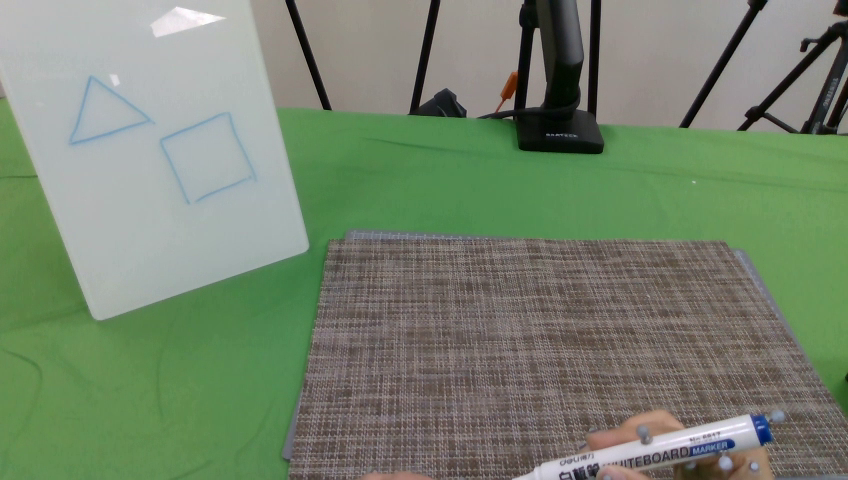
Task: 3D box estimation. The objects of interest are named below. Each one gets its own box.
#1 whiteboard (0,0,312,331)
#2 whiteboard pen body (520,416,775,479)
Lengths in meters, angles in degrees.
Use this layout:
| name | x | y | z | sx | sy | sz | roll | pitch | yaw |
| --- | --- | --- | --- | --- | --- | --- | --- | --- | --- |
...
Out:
| name | x | y | z | sx | sy | sz | roll | pitch | yaw |
| --- | --- | --- | --- | --- | --- | --- | --- | --- | --- |
| whiteboard | -0.271 | -0.104 | 0.615 | 0.218 | 0.307 | 0.142 | -20 | 22 | -26 |
| whiteboard pen body | 0.104 | 0.114 | 0.311 | 0.140 | 0.017 | 0.017 | -23 | 30 | 22 |
